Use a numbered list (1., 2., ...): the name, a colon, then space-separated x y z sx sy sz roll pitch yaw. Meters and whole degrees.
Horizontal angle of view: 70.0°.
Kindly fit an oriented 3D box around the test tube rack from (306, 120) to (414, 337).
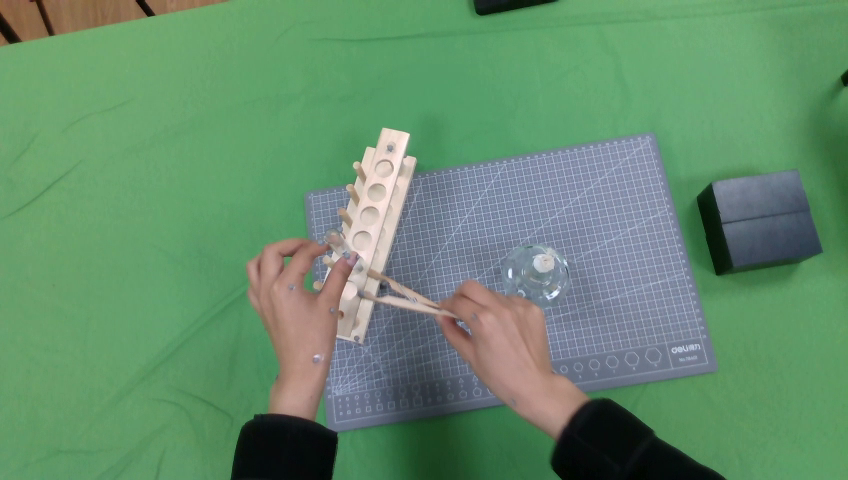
1. test tube rack: -0.079 -0.015 0.712 0.066 0.085 0.241 14 77 8

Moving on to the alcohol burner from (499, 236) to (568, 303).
1. alcohol burner: 0.123 0.029 0.672 0.078 0.120 0.077 -1 75 3

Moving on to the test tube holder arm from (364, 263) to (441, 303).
1. test tube holder arm: -0.022 0.047 0.619 0.087 0.015 0.010 26 73 19

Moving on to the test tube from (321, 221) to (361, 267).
1. test tube: -0.081 0.008 0.615 0.017 0.151 0.017 -1 76 3

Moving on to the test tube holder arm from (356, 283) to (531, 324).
1. test tube holder arm: 0.018 0.063 0.606 0.178 0.015 0.013 10 70 13
